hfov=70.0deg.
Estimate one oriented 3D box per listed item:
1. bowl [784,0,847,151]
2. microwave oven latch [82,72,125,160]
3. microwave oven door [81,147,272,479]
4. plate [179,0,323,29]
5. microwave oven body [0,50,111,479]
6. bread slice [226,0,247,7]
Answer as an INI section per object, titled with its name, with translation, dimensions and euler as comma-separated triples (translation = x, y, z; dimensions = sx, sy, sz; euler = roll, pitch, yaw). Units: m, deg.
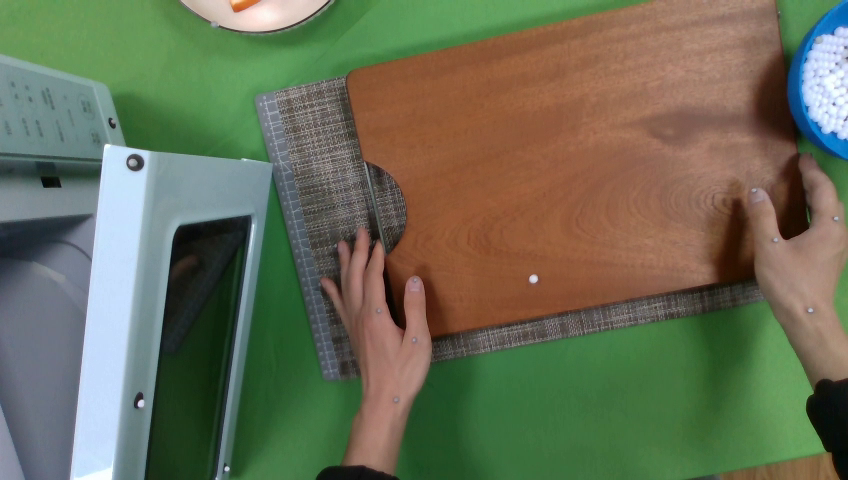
[bowl]
translation = 0.388, -0.150, 0.542
dimensions = 0.151, 0.076, 0.151
euler = 0, 97, 2
[microwave oven latch]
translation = -0.315, -0.118, 0.580
dimensions = 0.030, 0.029, 0.079
euler = -13, 97, 4
[microwave oven door]
translation = -0.199, 0.102, 0.502
dimensions = 0.039, 0.243, 0.356
euler = 9, 97, 2
[plate]
translation = -0.162, -0.303, 0.568
dimensions = 0.207, 0.039, 0.208
euler = 0, 97, 3
[microwave oven body]
translation = -0.420, 0.099, 0.515
dimensions = 0.326, 0.259, 0.442
euler = -14, 97, 4
[bread slice]
translation = -0.169, -0.302, 0.569
dimensions = 0.105, 0.019, 0.132
euler = -26, 96, 4
